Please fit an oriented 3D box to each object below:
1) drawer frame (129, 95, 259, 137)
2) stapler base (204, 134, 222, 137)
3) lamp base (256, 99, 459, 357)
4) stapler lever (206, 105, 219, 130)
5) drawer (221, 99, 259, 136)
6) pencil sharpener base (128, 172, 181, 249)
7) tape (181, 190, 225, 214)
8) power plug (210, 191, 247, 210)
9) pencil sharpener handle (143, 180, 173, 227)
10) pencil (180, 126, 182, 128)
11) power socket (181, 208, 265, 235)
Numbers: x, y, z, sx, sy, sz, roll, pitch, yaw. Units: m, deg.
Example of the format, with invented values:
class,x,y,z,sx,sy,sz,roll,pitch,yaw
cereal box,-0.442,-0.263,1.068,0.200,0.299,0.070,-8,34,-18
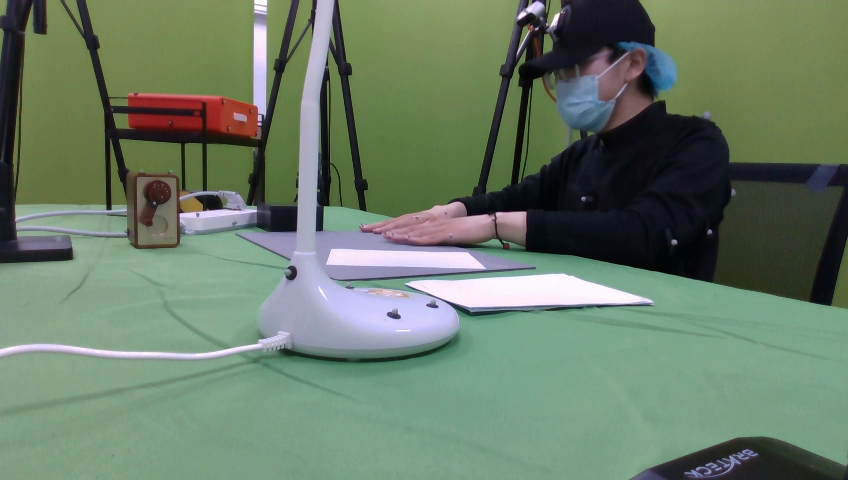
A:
class,x,y,z,sx,sy,sz,roll,pitch,yaw
drawer frame,-0.515,-0.281,1.380,0.213,0.082,0.202,3,8,6
stapler base,-0.484,-0.257,1.387,0.041,0.024,0.130,4,-1,-19
lamp base,-0.055,-0.013,0.463,0.160,0.180,0.180,6,11,27
stapler lever,-0.484,-0.281,1.388,0.027,0.040,0.117,4,0,-19
drawer,-0.513,-0.280,1.382,0.212,0.073,0.194,3,8,7
pencil sharpener base,-0.395,-0.044,0.887,0.062,0.107,0.076,-2,9,-34
tape,-0.515,-0.087,1.388,0.117,0.052,0.117,3,7,0
power plug,-0.386,-0.071,1.204,0.072,0.052,0.035,6,9,26
pencil sharpener handle,-0.371,-0.050,0.840,0.036,0.067,0.030,24,-5,-34
pencil,-0.549,-0.256,1.368,0.012,0.012,0.193,-1,11,-21
power socket,-0.381,-0.038,1.129,0.072,0.032,0.227,4,8,17
